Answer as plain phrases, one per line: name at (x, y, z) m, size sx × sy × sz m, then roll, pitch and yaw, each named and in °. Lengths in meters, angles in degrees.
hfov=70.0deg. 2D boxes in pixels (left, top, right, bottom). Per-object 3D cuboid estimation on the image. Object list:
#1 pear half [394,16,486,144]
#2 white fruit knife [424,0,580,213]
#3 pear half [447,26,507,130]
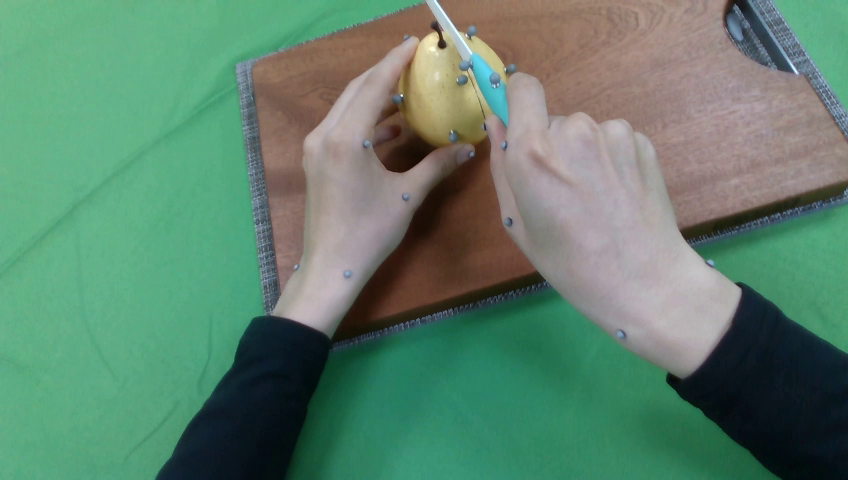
pear half at (0.004, -0.108, 0.413) m, size 0.056 × 0.111 × 0.075 m, roll -29°, pitch 61°, yaw 2°
white fruit knife at (0.033, -0.102, 0.362) m, size 0.016 × 0.027 × 0.205 m, roll -29°, pitch 66°, yaw -3°
pear half at (0.039, -0.119, 0.423) m, size 0.031 × 0.089 × 0.069 m, roll -28°, pitch 60°, yaw -1°
